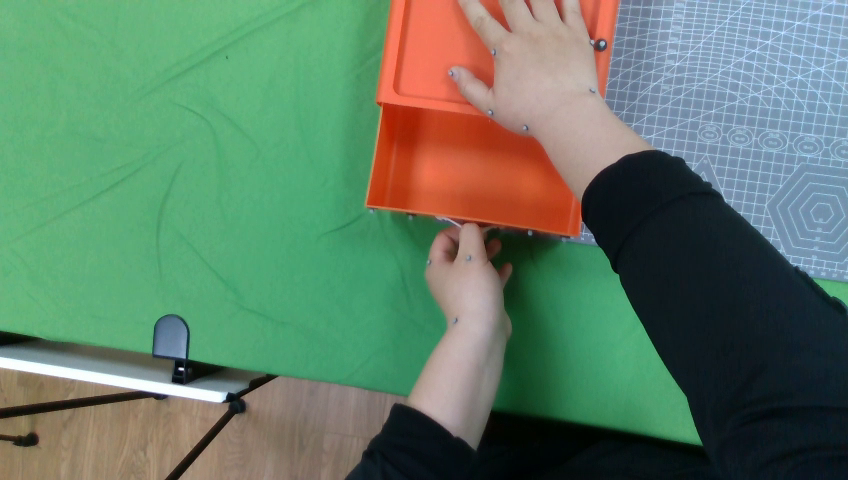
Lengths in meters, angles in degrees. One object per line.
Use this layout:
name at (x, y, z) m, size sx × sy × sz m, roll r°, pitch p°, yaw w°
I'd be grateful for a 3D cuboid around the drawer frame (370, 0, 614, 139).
drawer frame at (0.068, -0.209, 0.559) m, size 0.201 × 0.083 × 0.213 m, roll 8°, pitch 92°, yaw 9°

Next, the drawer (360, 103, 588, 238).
drawer at (0.055, -0.114, 0.561) m, size 0.194 × 0.073 × 0.211 m, roll 8°, pitch 91°, yaw 10°
